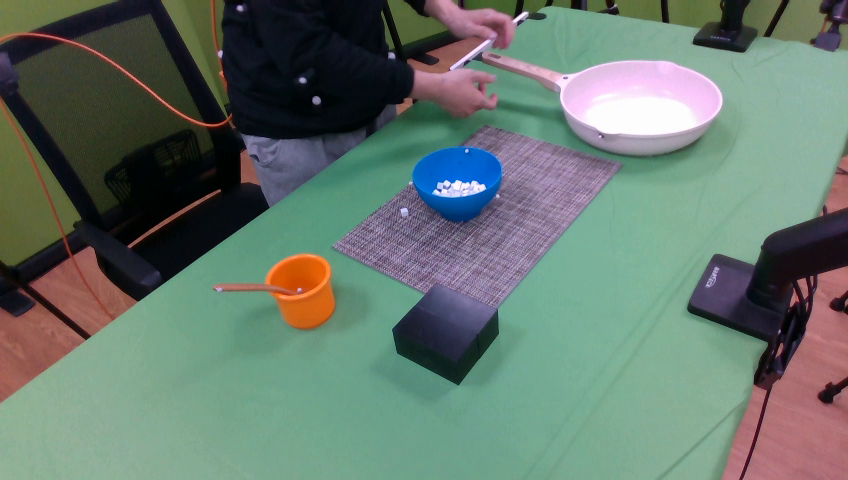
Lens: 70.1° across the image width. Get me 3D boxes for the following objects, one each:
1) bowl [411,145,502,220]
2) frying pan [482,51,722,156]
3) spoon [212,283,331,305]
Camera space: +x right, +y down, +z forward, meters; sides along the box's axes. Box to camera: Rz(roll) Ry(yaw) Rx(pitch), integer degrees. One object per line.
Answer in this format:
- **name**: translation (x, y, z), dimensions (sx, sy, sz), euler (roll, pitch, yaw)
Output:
- **bowl**: translation (0.057, -0.086, 1.010), dimensions (0.151, 0.077, 0.150), euler (-4, 40, 4)
- **frying pan**: translation (0.326, -0.298, 1.204), dimensions (0.484, 0.103, 0.307), euler (28, 51, 23)
- **spoon**: translation (-0.201, 0.069, 0.819), dimensions (0.041, 0.195, 0.021), euler (33, 99, 37)
